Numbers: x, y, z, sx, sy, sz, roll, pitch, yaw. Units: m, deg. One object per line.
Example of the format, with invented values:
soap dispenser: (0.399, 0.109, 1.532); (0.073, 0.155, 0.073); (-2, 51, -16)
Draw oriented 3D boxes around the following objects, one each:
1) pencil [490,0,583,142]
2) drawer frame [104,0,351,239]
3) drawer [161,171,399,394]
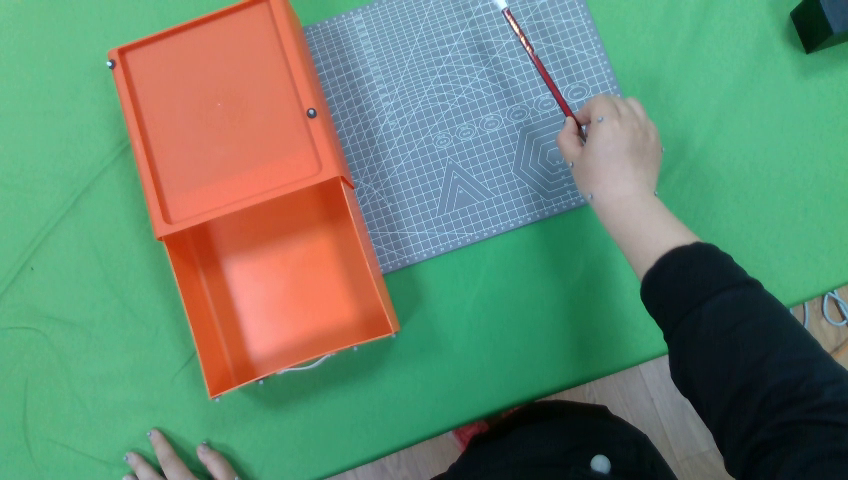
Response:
pencil: (0.111, -0.181, 0.614); (0.012, 0.012, 0.193); (-30, 83, 1)
drawer frame: (-0.207, -0.126, 0.648); (0.201, 0.083, 0.213); (-20, 82, 3)
drawer: (-0.152, 0.028, 0.632); (0.194, 0.073, 0.211); (-20, 85, 4)
